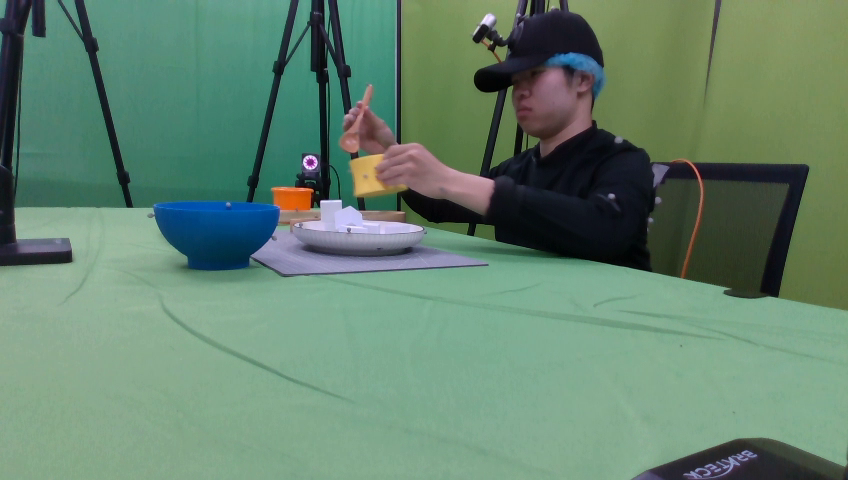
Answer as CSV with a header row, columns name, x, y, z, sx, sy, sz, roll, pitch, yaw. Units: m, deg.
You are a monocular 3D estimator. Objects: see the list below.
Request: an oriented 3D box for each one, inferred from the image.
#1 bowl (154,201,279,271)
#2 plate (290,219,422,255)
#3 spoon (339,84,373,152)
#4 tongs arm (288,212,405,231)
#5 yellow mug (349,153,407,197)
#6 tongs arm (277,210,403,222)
name,x,y,z,sx,sy,sz,roll,pitch,yaw
bowl,-0.263,-0.005,0.773,0.151,0.077,0.151,3,8,0
plate,-0.108,-0.005,0.963,0.208,0.039,0.207,3,7,0
spoon,-0.133,-0.255,1.255,0.042,0.193,0.021,25,-29,-14
tongs arm,-0.146,-0.041,1.280,0.028,0.028,0.389,2,5,33
yellow mug,-0.079,-0.121,1.111,0.100,0.064,0.130,-9,1,-26
tongs arm,-0.206,-0.052,1.332,0.387,0.026,0.050,-2,8,-44
